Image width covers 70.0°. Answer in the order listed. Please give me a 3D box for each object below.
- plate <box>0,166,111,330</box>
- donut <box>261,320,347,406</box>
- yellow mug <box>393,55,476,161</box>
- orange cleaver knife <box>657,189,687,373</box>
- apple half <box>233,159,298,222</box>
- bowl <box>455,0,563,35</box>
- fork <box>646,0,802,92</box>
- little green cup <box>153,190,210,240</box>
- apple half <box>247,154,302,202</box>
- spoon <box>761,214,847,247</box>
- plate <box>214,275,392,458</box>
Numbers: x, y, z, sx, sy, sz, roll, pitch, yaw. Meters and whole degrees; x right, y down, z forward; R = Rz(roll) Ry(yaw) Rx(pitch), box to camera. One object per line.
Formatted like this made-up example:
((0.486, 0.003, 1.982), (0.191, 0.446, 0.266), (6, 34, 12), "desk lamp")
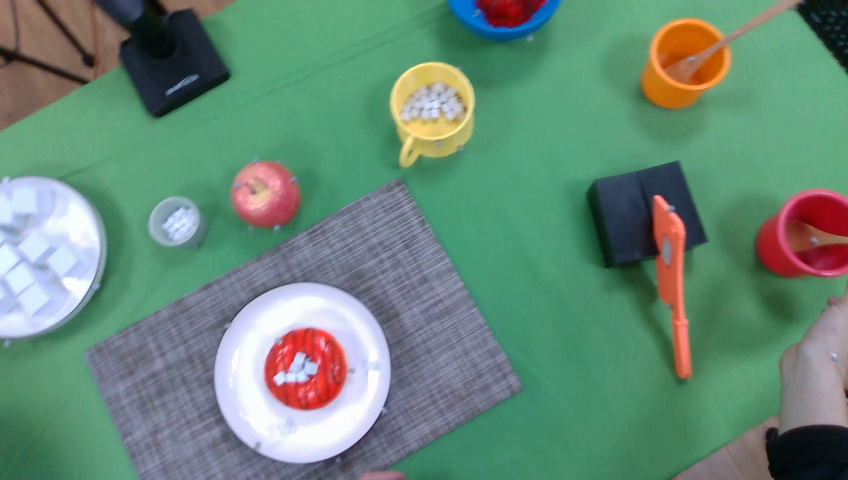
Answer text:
((-0.491, 0.011, 0.761), (0.207, 0.039, 0.206), (-1, 80, 3), "plate")
((-0.138, 0.142, 0.702), (0.099, 0.048, 0.098), (-1, 82, 4), "donut")
((0.007, -0.154, 0.749), (0.099, 0.064, 0.130), (29, 83, 8), "yellow mug")
((0.278, 0.049, 0.684), (0.012, 0.076, 0.212), (-10, 111, 3), "orange cleaver knife")
((-0.199, -0.052, 0.739), (0.080, 0.075, 0.053), (40, 89, 6), "apple half")
((0.106, -0.319, 0.766), (0.151, 0.077, 0.151), (-1, 80, 4), "bowl")
((0.354, -0.235, 0.700), (0.207, 0.019, 0.028), (-31, 73, 42), "fork")
((-0.301, -0.028, 0.757), (0.061, 0.039, 0.061), (-1, 80, 4), "little green cup")
((-0.174, -0.082, 0.741), (0.081, 0.081, 0.033), (40, 88, 10), "apple half")
((0.469, -0.001, 0.654), (0.192, 0.022, 0.041), (12, 75, 51), "spoon")
((-0.140, 0.145, 0.713), (0.209, 0.038, 0.208), (-1, 80, 3), "plate")
